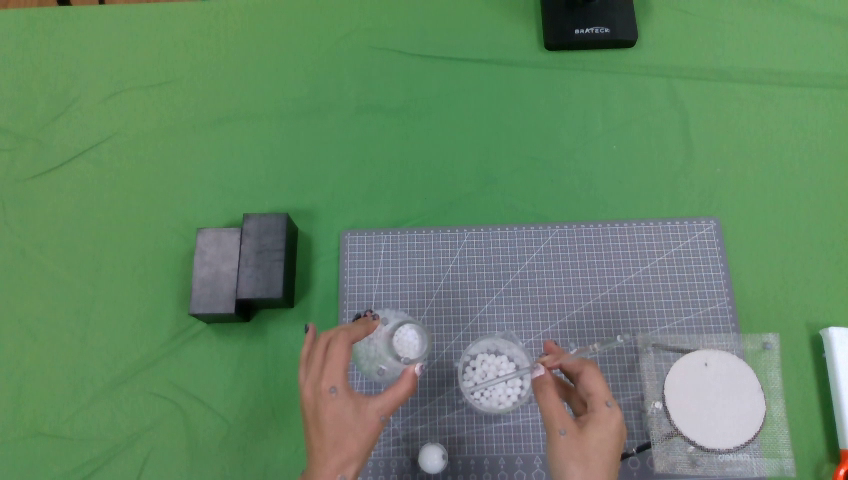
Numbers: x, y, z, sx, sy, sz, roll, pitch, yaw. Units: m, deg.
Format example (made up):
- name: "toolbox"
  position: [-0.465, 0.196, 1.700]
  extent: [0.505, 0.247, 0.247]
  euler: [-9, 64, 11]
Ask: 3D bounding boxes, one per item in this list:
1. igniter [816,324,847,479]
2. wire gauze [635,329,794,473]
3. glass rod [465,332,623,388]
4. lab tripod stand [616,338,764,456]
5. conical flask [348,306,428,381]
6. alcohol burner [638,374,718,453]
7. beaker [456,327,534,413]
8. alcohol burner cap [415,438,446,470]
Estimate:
- name: "igniter"
  position: [0.442, 0.224, 0.624]
  extent: [0.057, 0.025, 0.275]
  euler: [6, 72, -8]
- name: "wire gauze"
  position: [0.252, 0.138, 0.528]
  extent: [0.125, 0.011, 0.121]
  euler: [1, 74, 3]
- name: "glass rod"
  position: [0.098, 0.110, 0.541]
  extent: [0.008, 0.199, 0.008]
  euler: [16, 59, -29]
- name: "lab tripod stand"
  position: [0.254, 0.161, 0.591]
  extent: [0.148, 0.132, 0.147]
  euler: [0, 74, 2]
- name: "conical flask"
  position: [-0.027, 0.093, 0.555]
  extent: [0.075, 0.122, 0.075]
  euler: [3, 78, -13]
- name: "alcohol burner"
  position: [0.256, 0.170, 0.599]
  extent: [0.078, 0.120, 0.077]
  euler: [-1, 72, 4]
- name: "beaker"
  position: [0.071, 0.137, 0.623]
  extent: [0.074, 0.101, 0.083]
  euler: [18, 73, 8]
- name: "alcohol burner cap"
  position: [0.006, 0.222, 0.628]
  extent: [0.034, 0.048, 0.033]
  euler: [0, 73, 2]
